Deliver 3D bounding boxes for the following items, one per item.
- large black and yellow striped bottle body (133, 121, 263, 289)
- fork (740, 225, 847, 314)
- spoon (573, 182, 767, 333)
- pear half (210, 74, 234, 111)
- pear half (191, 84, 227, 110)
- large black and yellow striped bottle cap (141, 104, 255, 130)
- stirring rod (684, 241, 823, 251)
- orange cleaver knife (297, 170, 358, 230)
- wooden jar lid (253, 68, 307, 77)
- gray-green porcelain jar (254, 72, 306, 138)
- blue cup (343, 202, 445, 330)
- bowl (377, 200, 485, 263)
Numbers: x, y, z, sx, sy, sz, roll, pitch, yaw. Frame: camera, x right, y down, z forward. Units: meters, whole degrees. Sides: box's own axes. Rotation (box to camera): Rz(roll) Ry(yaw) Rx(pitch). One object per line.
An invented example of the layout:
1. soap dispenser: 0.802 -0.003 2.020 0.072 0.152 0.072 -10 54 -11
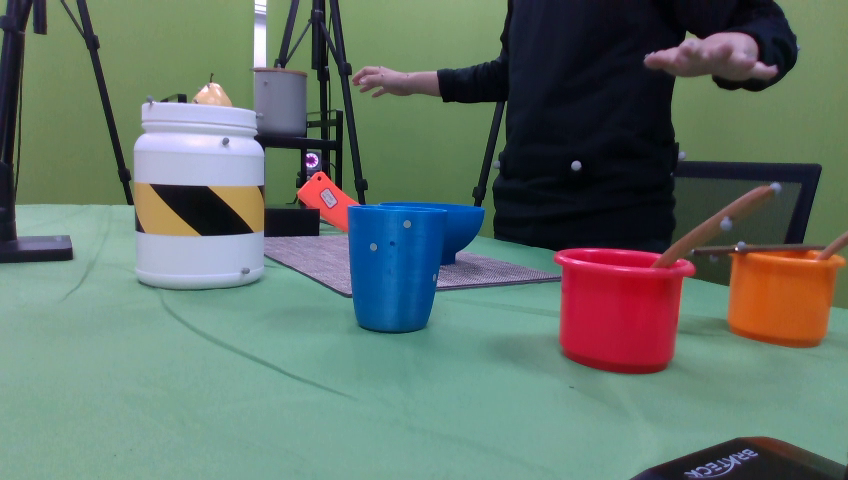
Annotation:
1. large black and yellow striped bottle body: -0.243 -0.048 0.659 0.131 0.184 0.130 2 7 0
2. fork: 0.323 0.013 0.485 0.028 0.018 0.207 9 -38 -5
3. spoon: 0.158 0.020 0.412 0.042 0.021 0.193 -2 -35 -21
4. pear half: -0.401 -0.262 1.162 0.076 0.109 0.056 7 7 2
5. pear half: -0.405 -0.248 1.128 0.070 0.088 0.031 6 6 2
6. large black and yellow striped bottle cap: -0.241 -0.131 0.650 0.115 0.019 0.115 3 8 0
7. stirring rod: 0.289 0.005 0.525 0.177 0.006 0.014 -1 6 -26
8. orange cleaver knife: -0.149 -0.058 1.170 0.212 0.077 0.012 33 -15 -32
9. wooden jar lid: -0.296 -0.339 1.250 0.108 0.020 0.108 3 10 0
10. gray-green porcelain jar: -0.299 -0.277 1.257 0.106 0.126 0.106 2 8 0
11. blue cup: -0.027 0.021 0.510 0.093 0.100 0.092 3 5 0
12. bowl: 0.008 -0.012 0.842 0.151 0.077 0.151 2 7 0
